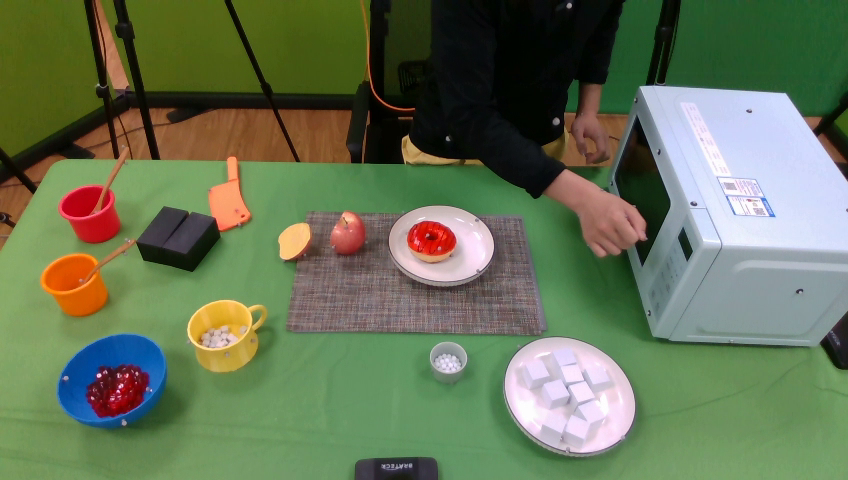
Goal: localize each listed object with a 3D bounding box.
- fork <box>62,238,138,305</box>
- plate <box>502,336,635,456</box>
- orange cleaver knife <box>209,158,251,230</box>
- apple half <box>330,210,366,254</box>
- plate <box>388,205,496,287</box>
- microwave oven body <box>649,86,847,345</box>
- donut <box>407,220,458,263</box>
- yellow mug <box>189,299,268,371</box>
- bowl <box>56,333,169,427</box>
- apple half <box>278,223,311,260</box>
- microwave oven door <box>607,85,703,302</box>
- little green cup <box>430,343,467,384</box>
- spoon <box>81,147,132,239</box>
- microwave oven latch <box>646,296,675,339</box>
[{"bbox_3d":[-0.547,0.053,1.019,0.207,0.019,0.028,-36,41,23],"label":"fork"},{"bbox_3d":[0.225,0.248,0.964,0.208,0.039,0.206,2,46,-2],"label":"plate"},{"bbox_3d":[-0.409,-0.099,1.266,0.077,0.012,0.210,-14,49,-10],"label":"orange cleaver knife"},{"bbox_3d":[-0.140,-0.009,1.157,0.053,0.075,0.080,17,43,8],"label":"apple half"},{"bbox_3d":[0.033,0.014,1.171,0.209,0.038,0.208,2,46,-2],"label":"plate"},{"bbox_3d":[0.567,-0.053,1.118,0.326,0.261,0.439,2,45,-1],"label":"microwave oven body"},{"bbox_3d":[0.016,0.002,1.166,0.099,0.048,0.098,3,44,-2],"label":"donut"},{"bbox_3d":[-0.316,0.148,1.002,0.131,0.064,0.099,-33,56,-31],"label":"yellow mug"},{"bbox_3d":[-0.456,0.223,0.912,0.151,0.077,0.150,3,45,-2],"label":"bowl"},{"bbox_3d":[-0.241,0.007,1.157,0.081,0.033,0.081,-17,54,24],"label":"apple half"},{"bbox_3d":[0.423,-0.095,1.140,0.039,0.245,0.353,2,46,-1],"label":"microwave oven door"},{"bbox_3d":[0.039,0.203,0.994,0.061,0.039,0.061,2,46,-2],"label":"little green cup"},{"bbox_3d":[-0.603,-0.089,1.156,0.041,0.022,0.193,27,95,21],"label":"spoon"},{"bbox_3d":[0.412,0.134,1.061,0.030,0.029,0.078,4,45,1],"label":"microwave oven latch"}]
